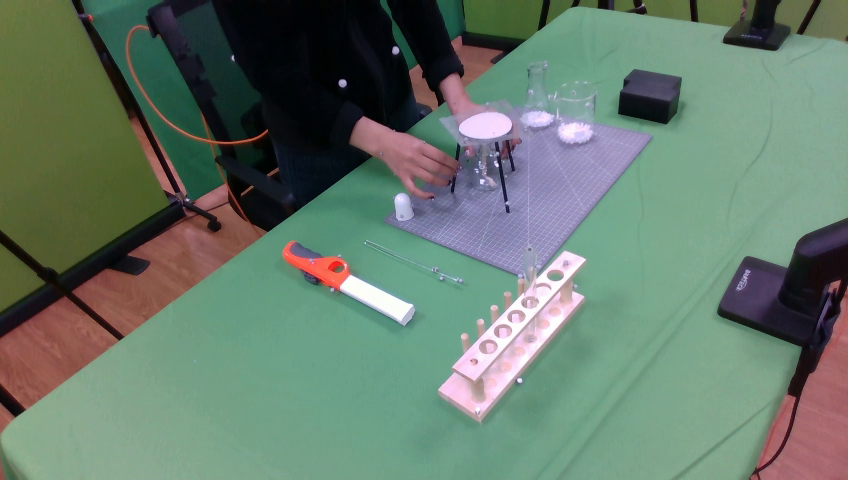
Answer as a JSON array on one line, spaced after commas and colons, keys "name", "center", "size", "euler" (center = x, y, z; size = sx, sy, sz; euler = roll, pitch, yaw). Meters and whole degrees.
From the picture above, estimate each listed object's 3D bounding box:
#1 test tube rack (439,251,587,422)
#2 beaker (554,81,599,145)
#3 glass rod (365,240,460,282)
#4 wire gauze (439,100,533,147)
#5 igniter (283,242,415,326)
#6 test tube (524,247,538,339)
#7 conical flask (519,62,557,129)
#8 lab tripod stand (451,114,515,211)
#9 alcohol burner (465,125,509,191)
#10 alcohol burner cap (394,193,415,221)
[{"name": "test tube rack", "center": [0.118, 0.111, 0.780], "size": [0.066, 0.085, 0.243], "euler": [26, 51, 34]}, {"name": "beaker", "center": [0.286, -0.237, 1.144], "size": [0.084, 0.101, 0.073], "euler": [-17, 40, -7]}, {"name": "glass rod", "center": [-0.022, 0.032, 0.961], "size": [0.198, 0.008, 0.008], "euler": [21, 49, 35]}, {"name": "wire gauze", "center": [0.100, -0.190, 0.994], "size": [0.125, 0.011, 0.120], "euler": [-15, 39, -7]}, {"name": "igniter", "center": [-0.126, 0.062, 0.931], "size": [0.274, 0.025, 0.057], "euler": [24, 61, 33]}, {"name": "test tube", "center": [0.133, 0.070, 0.749], "size": [0.017, 0.151, 0.017], "euler": [-5, 38, 4]}, {"name": "conical flask", "center": [0.225, -0.288, 1.198], "size": [0.075, 0.122, 0.075], "euler": [-6, 40, 5]}, {"name": "lab tripod stand", "center": [0.112, -0.139, 1.037], "size": [0.148, 0.132, 0.147], "euler": [-6, 38, 5]}, {"name": "alcohol burner", "center": [0.109, -0.148, 1.063], "size": [0.078, 0.119, 0.077], "euler": [-5, 38, 5]}, {"name": "alcohol burner cap", "center": [-0.036, -0.059, 1.040], "size": [0.034, 0.048, 0.033], "euler": [-6, 41, 5]}]
